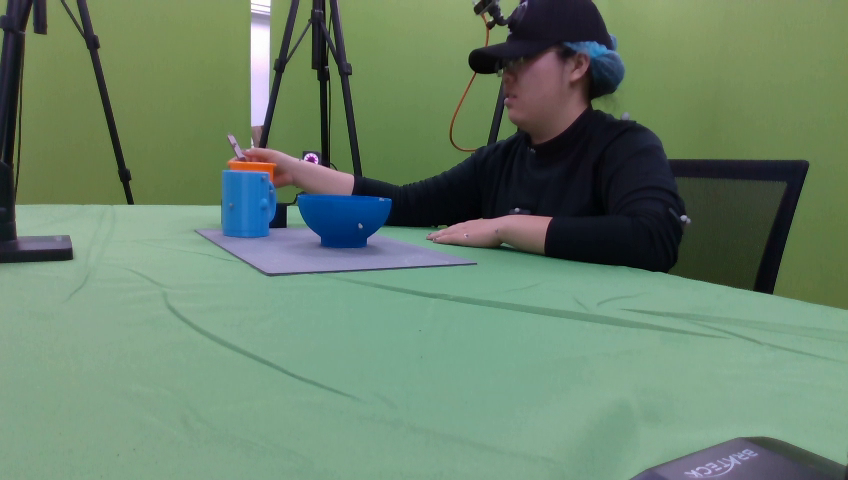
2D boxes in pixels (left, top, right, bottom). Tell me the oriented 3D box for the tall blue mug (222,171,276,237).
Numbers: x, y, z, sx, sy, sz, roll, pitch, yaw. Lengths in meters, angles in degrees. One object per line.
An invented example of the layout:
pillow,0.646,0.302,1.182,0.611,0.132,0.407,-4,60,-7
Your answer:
tall blue mug,-0.303,-0.064,1.043,0.078,0.108,0.107,1,7,-4

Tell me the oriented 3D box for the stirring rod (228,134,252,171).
stirring rod,-0.353,-0.148,1.197,0.014,0.006,0.175,-5,52,-44

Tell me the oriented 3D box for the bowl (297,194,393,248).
bowl,-0.127,-0.030,0.964,0.151,0.077,0.151,2,7,0
